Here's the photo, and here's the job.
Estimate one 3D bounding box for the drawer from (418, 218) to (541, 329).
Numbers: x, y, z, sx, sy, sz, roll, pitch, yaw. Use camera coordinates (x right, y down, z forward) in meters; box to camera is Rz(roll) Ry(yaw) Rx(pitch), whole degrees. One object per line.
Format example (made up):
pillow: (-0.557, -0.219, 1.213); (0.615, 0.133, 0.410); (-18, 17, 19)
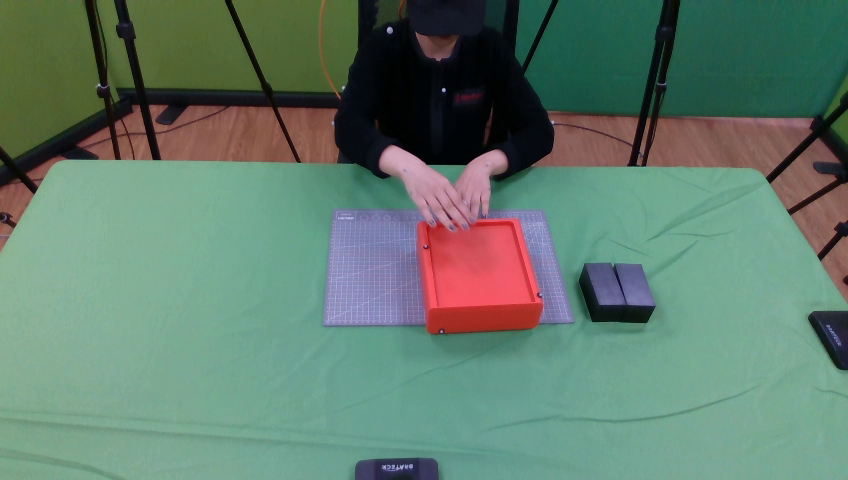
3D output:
drawer: (0.094, 0.057, 1.106); (0.195, 0.073, 0.210); (-1, 47, -6)

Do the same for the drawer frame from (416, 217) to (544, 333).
drawer frame: (0.094, 0.058, 1.104); (0.202, 0.083, 0.212); (-2, 47, -7)

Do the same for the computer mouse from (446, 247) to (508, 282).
computer mouse: (0.101, 0.046, 1.135); (0.117, 0.041, 0.062); (4, 42, -9)
